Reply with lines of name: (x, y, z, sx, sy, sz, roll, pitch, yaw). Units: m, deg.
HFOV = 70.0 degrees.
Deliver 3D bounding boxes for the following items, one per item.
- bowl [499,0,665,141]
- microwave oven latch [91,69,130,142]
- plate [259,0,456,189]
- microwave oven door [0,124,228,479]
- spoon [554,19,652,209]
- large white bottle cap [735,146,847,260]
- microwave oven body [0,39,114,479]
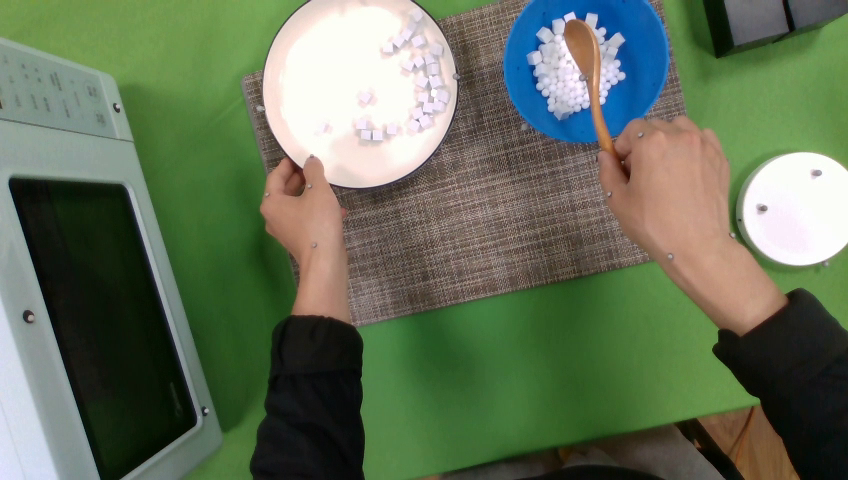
bowl: (0.149, -0.169, 0.595, 0.151, 0.077, 0.151, 0, 94, 7)
microwave oven latch: (-0.350, -0.144, 0.660, 0.030, 0.029, 0.079, -16, 93, 7)
plate: (-0.068, -0.157, 0.641, 0.209, 0.038, 0.209, 0, 94, 6)
microwave oven door: (-0.303, 0.073, 0.570, 0.039, 0.244, 0.356, -17, 92, 8)
spoon: (0.155, -0.112, 0.531, 0.041, 0.022, 0.192, -36, 60, 46)
large white bottle cap: (0.377, -0.037, 0.613, 0.115, 0.018, 0.115, 0, 95, 6)
microwave oven body: (-0.453, 0.073, 0.592, 0.326, 0.260, 0.442, -16, 93, 7)
